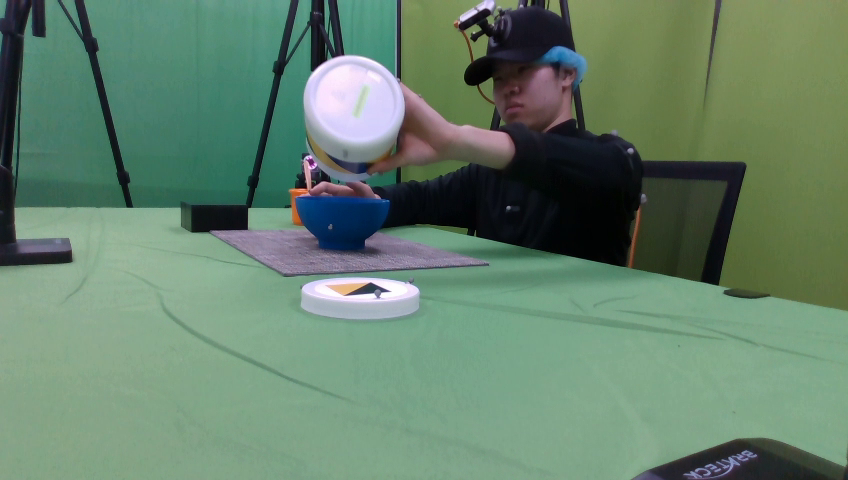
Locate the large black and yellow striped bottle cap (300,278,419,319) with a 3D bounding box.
[{"bbox_3d":[-0.062,0.055,0.588,0.115,0.019,0.115,1,6,0],"label":"large black and yellow striped bottle cap"}]

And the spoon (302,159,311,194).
[{"bbox_3d":[-0.257,-0.113,1.341,0.042,0.193,0.021,3,-38,-19],"label":"spoon"}]

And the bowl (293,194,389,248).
[{"bbox_3d":[-0.132,-0.030,0.962,0.151,0.077,0.151,3,7,0],"label":"bowl"}]

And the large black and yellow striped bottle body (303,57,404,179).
[{"bbox_3d":[-0.104,-0.162,0.862,0.131,0.130,0.183,1,-10,-10],"label":"large black and yellow striped bottle body"}]
